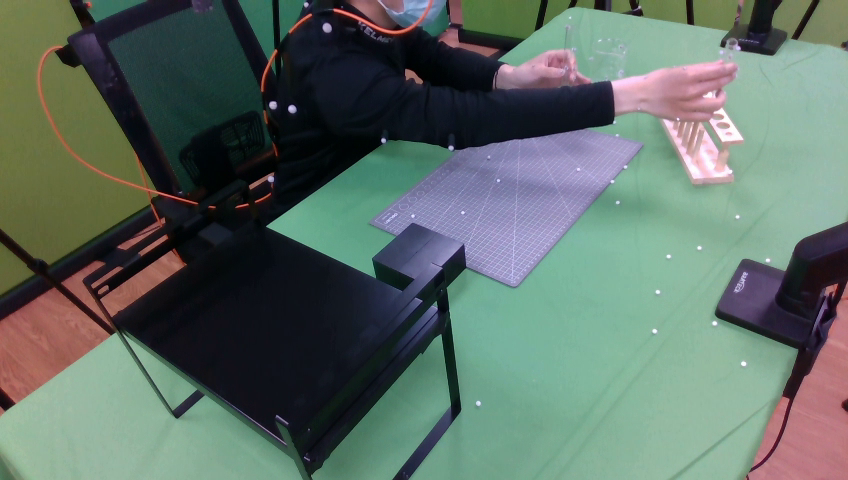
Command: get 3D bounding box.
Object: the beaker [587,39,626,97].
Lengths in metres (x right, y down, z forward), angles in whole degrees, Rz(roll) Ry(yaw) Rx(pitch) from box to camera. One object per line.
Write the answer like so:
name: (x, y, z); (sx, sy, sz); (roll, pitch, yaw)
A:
beaker: (0.386, -0.361, 1.280); (0.074, 0.101, 0.083); (-22, 43, -15)

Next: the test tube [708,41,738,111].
test tube: (0.475, -0.257, 0.963); (0.017, 0.151, 0.017); (-5, 62, 11)

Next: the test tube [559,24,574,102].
test tube: (0.268, -0.330, 1.140); (0.017, 0.151, 0.017); (-2, 38, 2)

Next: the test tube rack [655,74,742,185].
test tube rack: (0.488, -0.205, 1.093); (0.067, 0.085, 0.241); (-3, 41, 5)
